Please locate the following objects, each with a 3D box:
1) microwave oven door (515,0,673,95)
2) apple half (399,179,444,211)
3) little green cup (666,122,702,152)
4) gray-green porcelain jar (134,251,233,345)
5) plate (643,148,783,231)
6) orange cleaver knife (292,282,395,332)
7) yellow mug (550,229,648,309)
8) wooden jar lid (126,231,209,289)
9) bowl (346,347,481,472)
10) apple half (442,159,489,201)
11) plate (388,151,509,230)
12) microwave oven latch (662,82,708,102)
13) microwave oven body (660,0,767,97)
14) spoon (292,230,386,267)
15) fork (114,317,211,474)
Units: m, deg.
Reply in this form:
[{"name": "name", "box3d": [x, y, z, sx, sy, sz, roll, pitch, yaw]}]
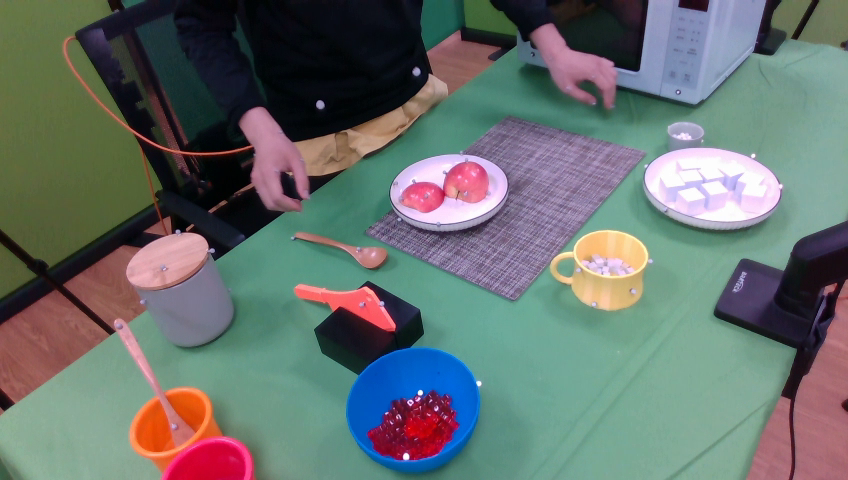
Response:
[{"name": "microwave oven door", "box3d": [0.344, -0.458, 1.256, 0.353, 0.245, 0.039, 26, 51, 33]}, {"name": "apple half", "box3d": [-0.004, -0.088, 1.045, 0.081, 0.033, 0.081, -2, 43, 2]}, {"name": "little green cup", "box3d": [0.471, -0.184, 1.102, 0.061, 0.039, 0.061, -5, 41, 5]}, {"name": "gray-green porcelain jar", "box3d": [-0.334, 0.076, 0.849, 0.106, 0.127, 0.105, -4, 41, 4]}, {"name": "plate", "box3d": [0.464, -0.080, 0.986, 0.207, 0.039, 0.206, -4, 41, 4]}, {"name": "orange cleaver knife", "box3d": [-0.116, 0.091, 0.835, 0.209, 0.077, 0.012, 2, 32, 48]}, {"name": "yellow mug", "box3d": [0.245, 0.039, 0.857, 0.130, 0.064, 0.099, 2, 42, 11]}, {"name": "wooden jar lid", "box3d": [-0.340, 0.030, 0.809, 0.108, 0.021, 0.108, -5, 39, 5]}, {"name": "bowl", "box3d": [-0.008, 0.205, 0.691, 0.151, 0.077, 0.150, -4, 40, 4]}, {"name": "apple half", "box3d": [0.074, -0.110, 1.047, 0.080, 0.053, 0.075, 21, 45, 30]}, {"name": "plate", "box3d": [0.044, -0.082, 1.042, 0.209, 0.038, 0.208, -4, 40, 4]}, {"name": "microwave oven latch", "box3d": [0.517, -0.298, 1.202, 0.078, 0.029, 0.030, 27, 52, 34]}, {"name": "microwave oven body", "box3d": [0.473, -0.516, 1.313, 0.438, 0.261, 0.327, 26, 51, 34]}, {"name": "spoon", "box3d": [-0.141, 0.007, 0.982, 0.192, 0.022, 0.041, 18, 65, 26]}, {"name": "fork", "box3d": [-0.309, 0.179, 0.708, 0.028, 0.018, 0.207, -30, 89, -25]}]
